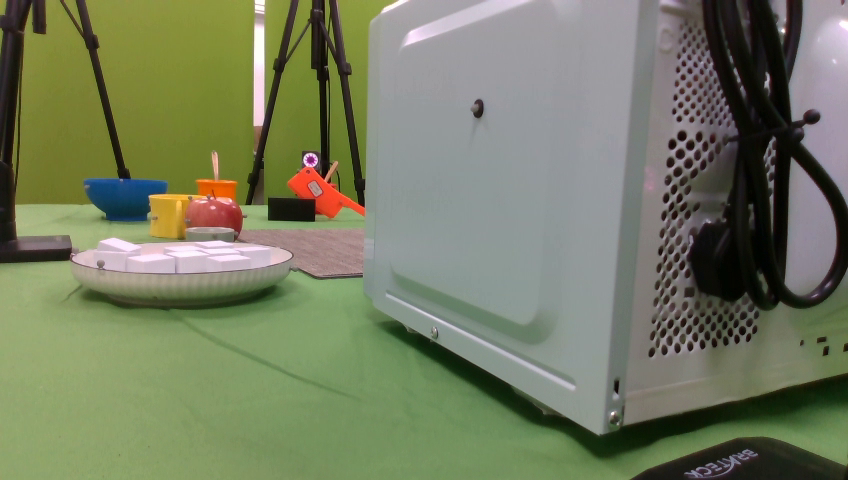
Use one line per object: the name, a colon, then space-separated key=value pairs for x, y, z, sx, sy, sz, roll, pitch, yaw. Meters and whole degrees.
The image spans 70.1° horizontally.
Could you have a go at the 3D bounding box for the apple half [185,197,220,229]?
apple half: x=-0.338 y=-0.031 z=0.927 sx=0.032 sy=0.081 sz=0.081 roll=12 pitch=12 yaw=31

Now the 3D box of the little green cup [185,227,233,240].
little green cup: x=-0.285 y=0.005 z=0.805 sx=0.061 sy=0.038 sz=0.061 roll=2 pitch=8 yaw=0

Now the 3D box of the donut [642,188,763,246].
donut: x=0.242 y=-0.019 z=0.531 sx=0.099 sy=0.048 sz=0.099 roll=4 pitch=6 yaw=0

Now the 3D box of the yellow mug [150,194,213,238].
yellow mug: x=-0.401 y=-0.040 z=1.003 sx=0.100 sy=0.064 sz=0.130 roll=-1 pitch=9 yaw=-20

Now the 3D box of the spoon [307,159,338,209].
spoon: x=-0.257 y=-0.147 z=1.567 sx=0.041 sy=0.022 sz=0.193 roll=1 pitch=50 yaw=20

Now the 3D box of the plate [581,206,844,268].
plate: x=0.245 y=-0.006 z=0.534 sx=0.209 sy=0.038 sz=0.209 roll=2 pitch=7 yaw=0

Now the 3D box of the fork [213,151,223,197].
fork: x=-0.493 y=-0.143 z=1.442 sx=0.028 sy=0.018 sz=0.206 roll=-3 pitch=52 yaw=-18

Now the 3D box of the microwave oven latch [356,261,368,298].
microwave oven latch: x=-0.020 y=0.033 z=0.530 sx=0.079 sy=0.029 sz=0.030 roll=0 pitch=7 yaw=-26

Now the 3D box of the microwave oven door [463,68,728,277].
microwave oven door: x=0.205 y=-0.096 z=0.812 sx=0.354 sy=0.243 sz=0.039 roll=9 pitch=11 yaw=41

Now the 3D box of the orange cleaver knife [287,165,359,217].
orange cleaver knife: x=-0.211 y=-0.093 z=1.382 sx=0.212 sy=0.077 sz=0.012 roll=33 pitch=2 yaw=-15

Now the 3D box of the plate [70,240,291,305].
plate: x=-0.242 y=0.031 z=0.618 sx=0.208 sy=0.039 sz=0.207 roll=2 pitch=8 yaw=0

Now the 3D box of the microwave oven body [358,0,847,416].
microwave oven body: x=0.210 y=-0.047 z=0.474 sx=0.444 sy=0.260 sz=0.324 roll=-1 pitch=7 yaw=-28

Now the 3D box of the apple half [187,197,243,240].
apple half: x=-0.305 y=-0.026 z=0.907 sx=0.053 sy=0.074 sz=0.081 roll=12 pitch=8 yaw=31

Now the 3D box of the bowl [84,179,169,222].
bowl: x=-0.584 y=-0.078 z=1.194 sx=0.151 sy=0.077 sz=0.151 roll=3 pitch=8 yaw=0
